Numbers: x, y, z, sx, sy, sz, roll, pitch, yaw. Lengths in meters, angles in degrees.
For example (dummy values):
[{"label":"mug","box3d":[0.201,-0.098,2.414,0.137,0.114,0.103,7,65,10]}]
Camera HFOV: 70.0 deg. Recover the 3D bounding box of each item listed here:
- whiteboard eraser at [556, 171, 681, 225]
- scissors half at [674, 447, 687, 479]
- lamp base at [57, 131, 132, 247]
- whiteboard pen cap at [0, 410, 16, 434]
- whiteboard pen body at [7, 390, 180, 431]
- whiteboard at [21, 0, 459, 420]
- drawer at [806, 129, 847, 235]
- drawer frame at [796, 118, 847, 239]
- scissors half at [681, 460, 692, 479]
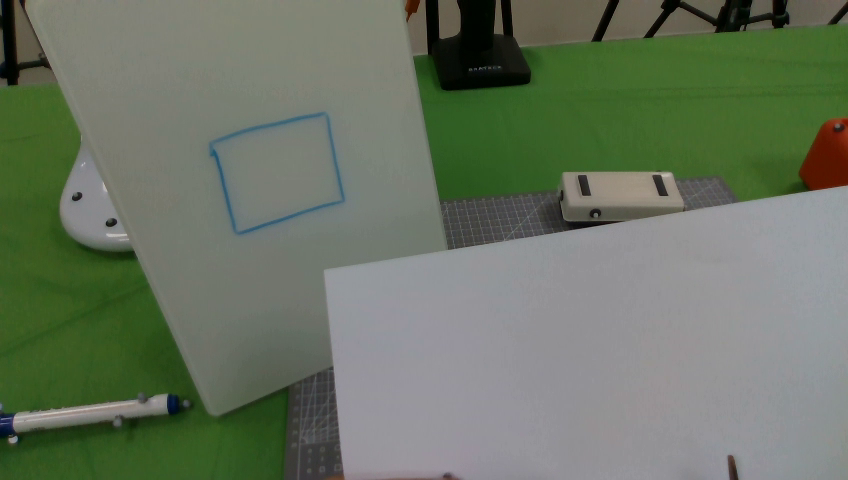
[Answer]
[{"label":"whiteboard eraser","box3d":[0.189,-0.041,0.599,0.113,0.042,0.055,0,43,1]},{"label":"scissors half","box3d":[0.139,0.176,0.256,0.013,0.040,0.174,-21,72,16]},{"label":"lamp base","box3d":[-0.305,-0.110,0.582,0.178,0.182,0.160,24,50,27]},{"label":"whiteboard pen cap","box3d":[-0.316,0.134,0.444,0.033,0.018,0.018,-4,44,-12]},{"label":"whiteboard pen body","box3d":[-0.257,0.129,0.452,0.141,0.017,0.017,-5,45,-9]},{"label":"whiteboard","box3d":[-0.120,-0.057,0.478,0.217,0.308,0.142,-21,29,-18]},{"label":"drawer","box3d":[0.499,-0.021,0.550,0.194,0.074,0.209,-4,44,-1]},{"label":"drawer frame","box3d":[0.499,-0.027,0.554,0.202,0.083,0.211,-5,44,-2]},{"label":"scissors half","box3d":[0.145,0.176,0.278,0.013,0.176,0.040,-21,12,11]}]
